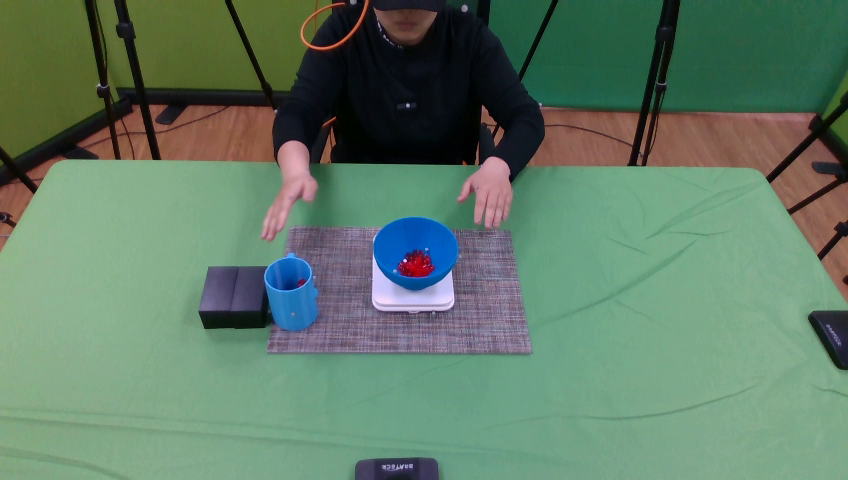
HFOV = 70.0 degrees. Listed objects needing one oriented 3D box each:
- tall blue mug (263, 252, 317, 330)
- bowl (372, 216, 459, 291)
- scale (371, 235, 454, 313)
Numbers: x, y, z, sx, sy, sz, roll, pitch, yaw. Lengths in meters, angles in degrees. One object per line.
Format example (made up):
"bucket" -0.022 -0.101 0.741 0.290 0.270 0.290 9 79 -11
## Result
"tall blue mug" -0.233 0.081 1.036 0.078 0.108 0.106 -25 53 -24
"bowl" -0.015 0.036 1.075 0.151 0.077 0.150 1 46 -1
"scale" -0.023 0.051 1.134 0.149 0.032 0.199 1 46 -4
